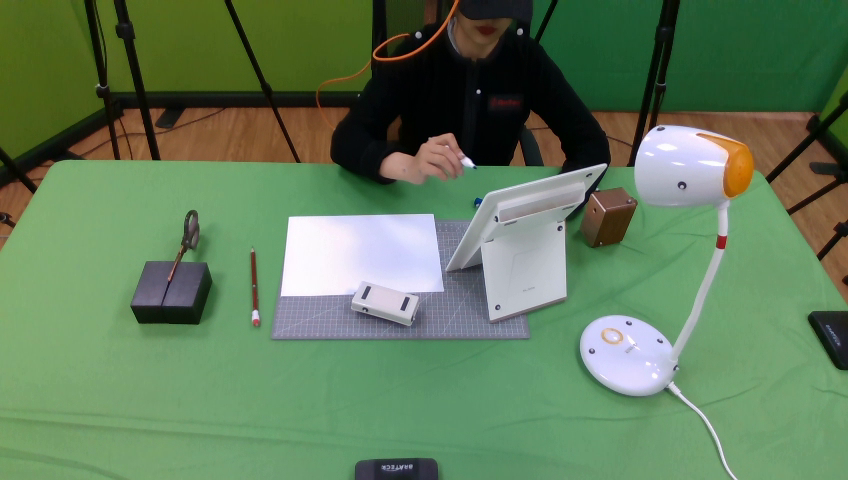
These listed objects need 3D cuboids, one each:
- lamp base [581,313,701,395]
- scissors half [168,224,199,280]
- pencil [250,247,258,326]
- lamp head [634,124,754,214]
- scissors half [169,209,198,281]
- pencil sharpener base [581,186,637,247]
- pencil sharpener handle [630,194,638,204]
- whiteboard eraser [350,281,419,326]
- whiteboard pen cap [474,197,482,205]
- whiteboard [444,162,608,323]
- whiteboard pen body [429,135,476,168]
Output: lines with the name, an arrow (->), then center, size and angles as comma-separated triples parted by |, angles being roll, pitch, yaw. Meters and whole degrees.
lamp base -> 0.361, 0.144, 0.973 | 0.178, 0.181, 0.160 | 34, 53, 23
scissors half -> -0.441, 0.023, 1.111 | 0.013, 0.040, 0.174 | 9, 29, -8
pencil -> -0.312, 0.079, 1.107 | 0.012, 0.012, 0.192 | -7, 46, -11
lamp head -> 0.351, -0.089, 0.776 | 0.112, 0.113, 0.122 | -30, 30, -28
scissors half -> -0.438, 0.007, 1.099 | 0.013, 0.040, 0.174 | 4, 48, -5
pencil sharpener base -> 0.369, -0.047, 1.209 | 0.077, 0.107, 0.061 | -11, 47, -15
pencil sharpener handle -> 0.417, -0.068, 1.215 | 0.031, 0.068, 0.036 | -11, 60, -15
whiteboard eraser -> -0.069, 0.113, 1.065 | 0.112, 0.042, 0.055 | 14, 46, 9
whiteboard pen cap -> 0.123, -0.079, 1.287 | 0.033, 0.018, 0.018 | 26, 50, 23
whiteboard -> 0.186, 0.025, 1.029 | 0.217, 0.306, 0.143 | -14, 68, -17
whiteboard pen body -> 0.052, -0.162, 1.113 | 0.017, 0.017, 0.140 | -24, 42, -24
